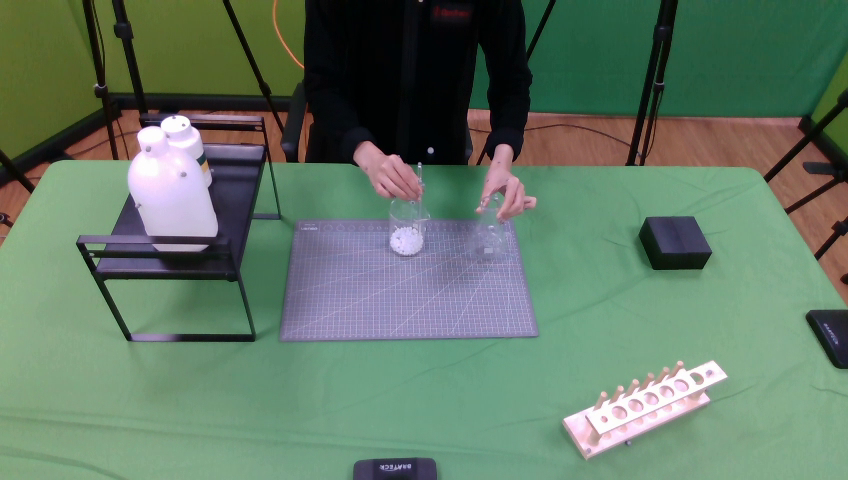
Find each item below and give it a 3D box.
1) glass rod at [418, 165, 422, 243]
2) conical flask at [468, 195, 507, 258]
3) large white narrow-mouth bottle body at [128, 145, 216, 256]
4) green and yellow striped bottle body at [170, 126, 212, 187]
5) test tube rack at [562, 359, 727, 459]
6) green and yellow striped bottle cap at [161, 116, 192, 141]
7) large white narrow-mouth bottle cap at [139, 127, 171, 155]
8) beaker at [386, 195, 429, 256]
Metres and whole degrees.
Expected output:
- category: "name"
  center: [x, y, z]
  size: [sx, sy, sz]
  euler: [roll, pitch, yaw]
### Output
- category: "glass rod"
  center: [-0.007, -0.061, 1.109]
  size: [0.008, 0.201, 0.008]
  euler: [0, 48, 0]
- category: "conical flask"
  center: [0.121, -0.029, 1.133]
  size: [0.075, 0.122, 0.075]
  euler: [-1, 49, 1]
- category: "large white narrow-mouth bottle body"
  center: [-0.366, -0.073, 0.872]
  size: [0.102, 0.195, 0.101]
  euler: [3, 47, -3]
- category: "green and yellow striped bottle body"
  center: [-0.389, -0.139, 0.984]
  size: [0.063, 0.120, 0.063]
  euler: [2, 46, -2]
- category: "test tube rack"
  center: [0.341, 0.247, 0.940]
  size: [0.243, 0.085, 0.066]
  euler: [-16, 49, -18]
- category: "green and yellow striped bottle cap"
  center: [-0.387, -0.174, 0.946]
  size: [0.045, 0.020, 0.045]
  euler: [3, 44, -3]
- category: "large white narrow-mouth bottle cap"
  center: [-0.358, -0.132, 0.807]
  size: [0.038, 0.024, 0.037]
  euler: [3, 47, -3]
- category: "beaker"
  center: [-0.031, -0.024, 1.161]
  size: [0.084, 0.101, 0.073]
  euler: [18, 48, 12]
